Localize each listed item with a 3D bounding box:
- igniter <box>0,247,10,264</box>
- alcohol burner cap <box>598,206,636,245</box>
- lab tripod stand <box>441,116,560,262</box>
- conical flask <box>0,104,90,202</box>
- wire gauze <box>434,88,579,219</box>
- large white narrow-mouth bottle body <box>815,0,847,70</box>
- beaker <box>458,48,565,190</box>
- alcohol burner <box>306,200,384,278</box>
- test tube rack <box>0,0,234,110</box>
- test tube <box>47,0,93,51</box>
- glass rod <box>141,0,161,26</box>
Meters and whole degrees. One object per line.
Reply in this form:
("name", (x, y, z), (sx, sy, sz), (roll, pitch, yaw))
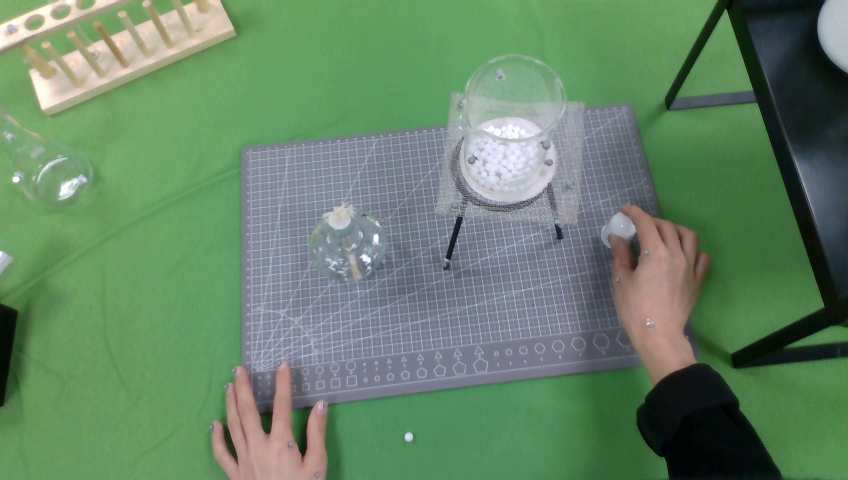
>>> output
("igniter", (-0.483, 0.120, 0.554), (0.057, 0.025, 0.275), (21, 70, 19))
("alcohol burner cap", (0.201, -0.018, 0.625), (0.034, 0.048, 0.033), (0, 69, 1))
("lab tripod stand", (0.072, -0.048, 0.591), (0.148, 0.132, 0.147), (0, 68, 0))
("conical flask", (-0.417, -0.096, 0.633), (0.075, 0.122, 0.075), (-1, 69, 2))
("wire gauze", (0.075, -0.077, 0.532), (0.121, 0.011, 0.124), (7, 68, 2))
("large white narrow-mouth bottle body", (0.371, -0.206, 0.420), (0.102, 0.196, 0.101), (-1, 69, 3))
("beaker", (0.063, -0.089, 0.485), (0.084, 0.101, 0.073), (-29, 71, -9))
("alcohol burner", (-0.079, -0.007, 0.591), (0.078, 0.120, 0.077), (0, 67, 0))
("test tube rack", (-0.360, -0.249, 0.708), (0.242, 0.086, 0.066), (-27, 70, -8))
("test tube", (-0.405, -0.265, 0.663), (0.017, 0.151, 0.017), (0, 63, 1))
("glass rod", (-0.336, -0.313, 0.661), (0.008, 0.201, 0.008), (-2, 61, 4))
